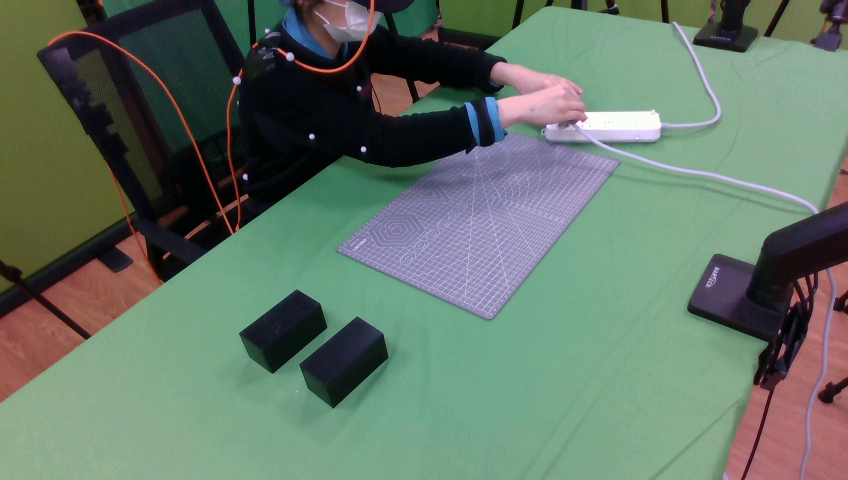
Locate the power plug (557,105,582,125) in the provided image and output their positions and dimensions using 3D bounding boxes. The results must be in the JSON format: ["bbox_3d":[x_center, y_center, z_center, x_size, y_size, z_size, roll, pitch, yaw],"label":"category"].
[{"bbox_3d":[0.288,-0.239,1.162,0.073,0.035,0.052,-4,19,-43],"label":"power plug"}]

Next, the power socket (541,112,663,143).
[{"bbox_3d":[0.342,-0.218,1.164,0.226,0.033,0.072,3,41,11],"label":"power socket"}]
